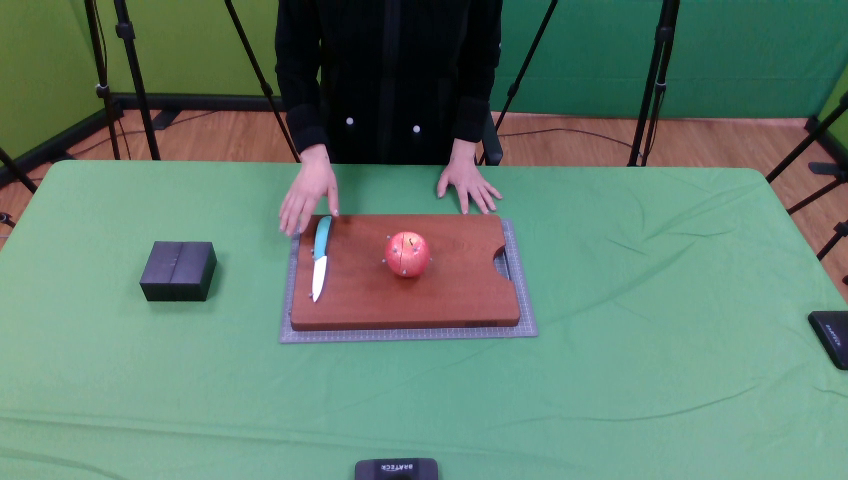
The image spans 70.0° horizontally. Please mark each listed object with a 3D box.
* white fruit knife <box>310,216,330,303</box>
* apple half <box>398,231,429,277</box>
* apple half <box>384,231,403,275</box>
[{"bbox_3d":[-0.194,0.032,1.116,0.027,0.016,0.206,-8,47,6],"label":"white fruit knife"},{"bbox_3d":[-0.018,0.028,1.095,0.053,0.075,0.080,6,42,-4],"label":"apple half"},{"bbox_3d":[-0.056,0.025,1.093,0.033,0.081,0.081,5,46,-2],"label":"apple half"}]
